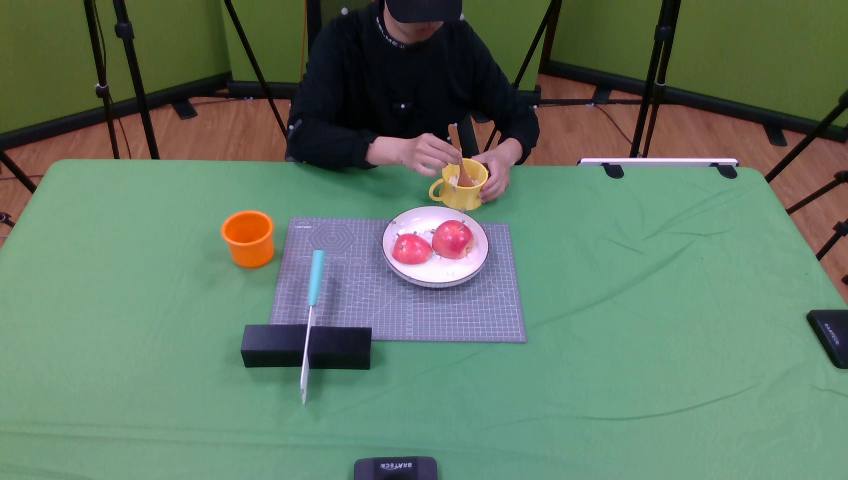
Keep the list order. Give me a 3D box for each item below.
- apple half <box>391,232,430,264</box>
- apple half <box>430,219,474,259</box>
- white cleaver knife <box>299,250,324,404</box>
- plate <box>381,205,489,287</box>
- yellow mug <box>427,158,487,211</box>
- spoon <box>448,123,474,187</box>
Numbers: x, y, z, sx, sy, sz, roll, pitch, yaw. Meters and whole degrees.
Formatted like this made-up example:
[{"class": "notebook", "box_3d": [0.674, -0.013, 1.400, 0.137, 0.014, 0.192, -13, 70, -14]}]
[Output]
[{"class": "apple half", "box_3d": [-0.024, 0.009, 1.163, 0.081, 0.033, 0.081, 2, 43, -2]}, {"class": "apple half", "box_3d": [0.056, -0.008, 1.172, 0.081, 0.053, 0.074, -33, 59, -31]}, {"class": "white cleaver knife", "box_3d": [-0.194, 0.134, 1.019, 0.021, 0.066, 0.284, 5, 50, -5]}, {"class": "plate", "box_3d": [0.021, 0.015, 1.170, 0.209, 0.038, 0.208, 2, 46, -2]}, {"class": "yellow mug", "box_3d": [0.067, -0.115, 1.285, 0.131, 0.064, 0.099, -17, 48, -17]}, {"class": "spoon", "box_3d": [0.070, -0.157, 1.209, 0.041, 0.195, 0.021, 0, 46, 18]}]
